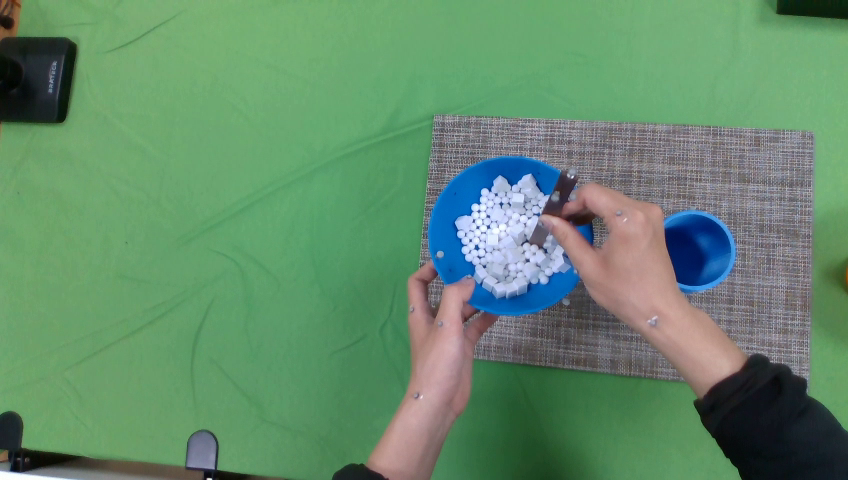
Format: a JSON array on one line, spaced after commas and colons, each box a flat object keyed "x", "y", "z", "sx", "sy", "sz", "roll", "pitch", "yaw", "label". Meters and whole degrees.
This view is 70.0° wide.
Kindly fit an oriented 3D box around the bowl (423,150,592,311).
[{"x": 0.079, "y": -0.002, "z": 0.581, "sx": 0.151, "sy": 0.077, "sz": 0.150, "roll": -1, "pitch": 77, "yaw": 6, "label": "bowl"}]

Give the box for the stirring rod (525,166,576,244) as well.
[{"x": 0.103, "y": -0.024, "z": 0.511, "sx": 0.014, "sy": 0.177, "sz": 0.006, "roll": 18, "pitch": 75, "yaw": 7, "label": "stirring rod"}]

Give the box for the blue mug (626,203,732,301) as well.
[{"x": 0.263, "y": 0.023, "z": 0.659, "sx": 0.082, "sy": 0.106, "sz": 0.116, "roll": 43, "pitch": 90, "yaw": 11, "label": "blue mug"}]
